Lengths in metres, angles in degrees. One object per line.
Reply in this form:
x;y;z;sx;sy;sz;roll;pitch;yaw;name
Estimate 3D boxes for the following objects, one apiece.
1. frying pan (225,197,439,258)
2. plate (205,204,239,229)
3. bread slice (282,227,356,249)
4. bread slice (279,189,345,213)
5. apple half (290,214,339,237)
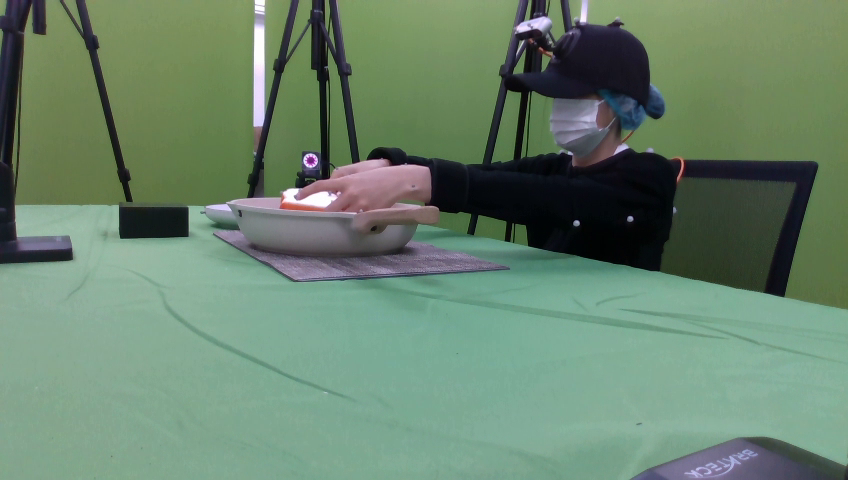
-0.103;-0.027;0.845;0.308;0.102;0.486;-1;0;-25;frying pan
-0.324;-0.046;1.199;0.208;0.039;0.207;3;7;0;plate
-0.169;-0.004;0.943;0.107;0.018;0.134;3;7;-16;bread slice
-0.173;-0.052;0.934;0.105;0.019;0.131;8;18;-16;bread slice
-0.168;-0.024;0.937;0.081;0.033;0.081;4;9;0;apple half
